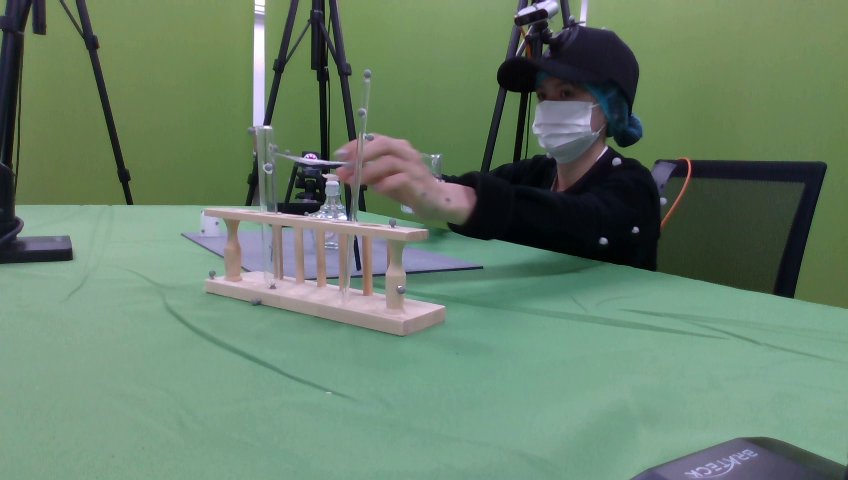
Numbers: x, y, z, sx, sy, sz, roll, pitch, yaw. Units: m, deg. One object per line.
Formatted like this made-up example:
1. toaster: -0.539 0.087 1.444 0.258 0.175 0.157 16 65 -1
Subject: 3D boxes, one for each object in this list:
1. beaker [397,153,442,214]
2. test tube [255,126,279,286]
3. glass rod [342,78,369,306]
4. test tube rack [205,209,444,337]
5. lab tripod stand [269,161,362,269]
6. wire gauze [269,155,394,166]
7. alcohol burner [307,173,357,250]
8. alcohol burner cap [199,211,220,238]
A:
1. beaker: -0.004 -0.095 1.021 0.074 0.100 0.083 -5 9 -38
2. test tube: -0.147 -0.031 0.566 0.017 0.150 0.017 -1 8 0
3. glass rod: -0.059 -0.038 0.521 0.008 0.199 0.008 6 5 0
4. test tube rack: -0.100 0.021 0.565 0.241 0.085 0.067 7 8 32
5. lab tripod stand: -0.125 -0.036 0.793 0.148 0.131 0.148 5 7 0
6. wire gauze: -0.121 -0.102 0.785 0.122 0.011 0.124 -3 10 -39
7. alcohol burner: -0.144 -0.045 0.940 0.078 0.119 0.078 1 9 0
8. alcohol burner cap: -0.356 -0.027 1.002 0.034 0.048 0.034 3 7 0
